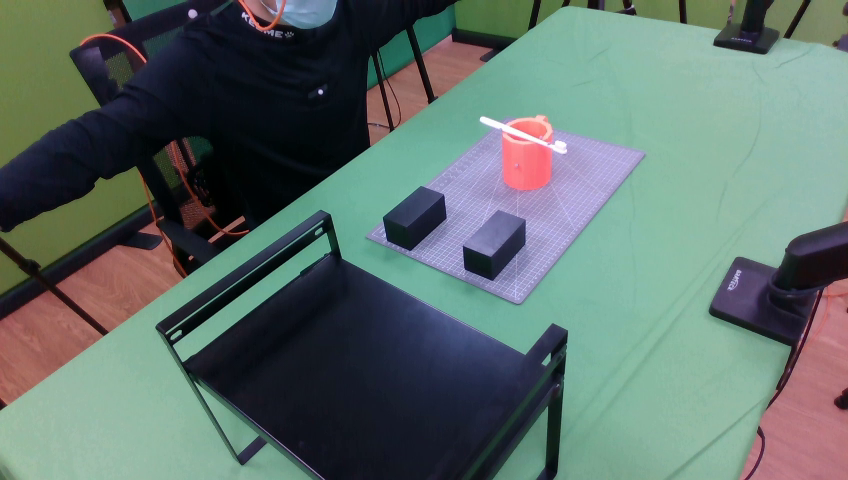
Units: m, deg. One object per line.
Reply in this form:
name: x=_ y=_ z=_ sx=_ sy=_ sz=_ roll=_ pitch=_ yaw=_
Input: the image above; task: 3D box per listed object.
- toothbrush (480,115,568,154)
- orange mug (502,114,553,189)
toothbrush: x=0.165 y=-0.181 z=1.013 sx=0.180 sy=0.017 sz=0.014 roll=30 pitch=55 yaw=35
orange mug: x=0.190 y=-0.164 z=1.071 sx=0.083 sy=0.101 sz=0.126 roll=16 pitch=50 yaw=25
